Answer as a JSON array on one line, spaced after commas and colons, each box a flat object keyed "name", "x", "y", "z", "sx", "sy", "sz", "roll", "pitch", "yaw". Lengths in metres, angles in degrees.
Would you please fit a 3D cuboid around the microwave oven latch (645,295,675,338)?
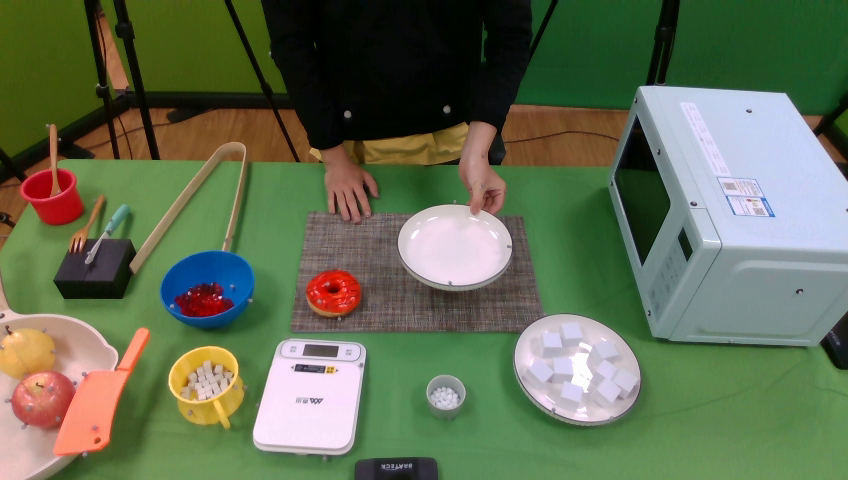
[{"name": "microwave oven latch", "x": 0.412, "y": 0.134, "z": 1.061, "sx": 0.030, "sy": 0.029, "sz": 0.078, "roll": 3, "pitch": 45, "yaw": 0}]

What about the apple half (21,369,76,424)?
[{"name": "apple half", "x": -0.546, "y": 0.226, "z": 0.898, "sx": 0.080, "sy": 0.075, "sz": 0.053, "roll": 30, "pitch": 48, "yaw": 27}]

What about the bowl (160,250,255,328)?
[{"name": "bowl", "x": -0.362, "y": 0.098, "z": 1.040, "sx": 0.151, "sy": 0.077, "sz": 0.150, "roll": 2, "pitch": 45, "yaw": -2}]

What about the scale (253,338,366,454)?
[{"name": "scale", "x": -0.175, "y": 0.236, "z": 0.951, "sx": 0.149, "sy": 0.032, "sz": 0.199, "roll": 4, "pitch": 45, "yaw": 0}]

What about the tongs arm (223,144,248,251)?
[{"name": "tongs arm", "x": -0.397, "y": -0.073, "z": 1.232, "sx": 0.051, "sy": 0.027, "sz": 0.382, "roll": -3, "pitch": 45, "yaw": 1}]

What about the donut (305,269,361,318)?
[{"name": "donut", "x": -0.160, "y": 0.094, "z": 1.075, "sx": 0.099, "sy": 0.048, "sz": 0.098, "roll": 4, "pitch": 45, "yaw": -3}]

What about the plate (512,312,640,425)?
[{"name": "plate", "x": 0.246, "y": 0.213, "z": 0.999, "sx": 0.208, "sy": 0.039, "sz": 0.206, "roll": 2, "pitch": 46, "yaw": -2}]

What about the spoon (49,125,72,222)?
[{"name": "spoon", "x": -0.718, "y": -0.131, "z": 1.189, "sx": 0.041, "sy": 0.021, "sz": 0.193, "roll": -4, "pitch": 90, "yaw": -7}]

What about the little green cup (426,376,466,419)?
[{"name": "little green cup", "x": 0.033, "y": 0.248, "z": 0.950, "sx": 0.061, "sy": 0.039, "sz": 0.061, "roll": 2, "pitch": 46, "yaw": -2}]

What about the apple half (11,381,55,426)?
[{"name": "apple half", "x": -0.570, "y": 0.246, "z": 0.875, "sx": 0.081, "sy": 0.081, "sz": 0.033, "roll": 32, "pitch": 49, "yaw": 24}]

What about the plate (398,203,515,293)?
[{"name": "plate", "x": 0.056, "y": 0.016, "z": 1.081, "sx": 0.209, "sy": 0.038, "sz": 0.208, "roll": 1, "pitch": 46, "yaw": 0}]

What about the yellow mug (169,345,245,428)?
[{"name": "yellow mug", "x": -0.322, "y": 0.230, "z": 0.922, "sx": 0.100, "sy": 0.064, "sz": 0.130, "roll": -24, "pitch": 53, "yaw": -25}]

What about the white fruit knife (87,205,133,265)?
[{"name": "white fruit knife", "x": -0.584, "y": -0.013, "z": 1.129, "sx": 0.016, "sy": 0.027, "sz": 0.206, "roll": 0, "pitch": 32, "yaw": -5}]

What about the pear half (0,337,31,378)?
[{"name": "pear half", "x": -0.631, "y": 0.183, "z": 0.923, "sx": 0.070, "sy": 0.088, "sz": 0.031, "roll": 28, "pitch": 50, "yaw": 14}]

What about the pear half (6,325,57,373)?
[{"name": "pear half", "x": -0.607, "y": 0.158, "z": 0.935, "sx": 0.076, "sy": 0.110, "sz": 0.056, "roll": 30, "pitch": 51, "yaw": 19}]

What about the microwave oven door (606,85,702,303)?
[{"name": "microwave oven door", "x": 0.422, "y": -0.094, "z": 1.140, "sx": 0.039, "sy": 0.245, "sz": 0.353, "roll": 2, "pitch": 46, "yaw": -1}]

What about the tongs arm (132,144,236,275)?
[{"name": "tongs arm", "x": -0.483, "y": -0.075, "z": 1.237, "sx": 0.028, "sy": 0.028, "sz": 0.385, "roll": 5, "pitch": 45, "yaw": 14}]

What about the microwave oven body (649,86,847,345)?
[{"name": "microwave oven body", "x": 0.567, "y": -0.053, "z": 1.118, "sx": 0.326, "sy": 0.261, "sz": 0.439, "roll": 2, "pitch": 45, "yaw": -1}]

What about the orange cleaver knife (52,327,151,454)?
[{"name": "orange cleaver knife", "x": -0.462, "y": 0.212, "z": 0.879, "sx": 0.077, "sy": 0.012, "sz": 0.210, "roll": 6, "pitch": 45, "yaw": -1}]

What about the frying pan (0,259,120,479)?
[{"name": "frying pan", "x": -0.647, "y": 0.164, "z": 0.936, "sx": 0.307, "sy": 0.103, "sz": 0.485, "roll": -19, "pitch": 58, "yaw": -22}]

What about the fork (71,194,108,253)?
[{"name": "fork", "x": -0.634, "y": -0.036, "z": 1.158, "sx": 0.028, "sy": 0.019, "sz": 0.206, "roll": -7, "pitch": 31, "yaw": -8}]
